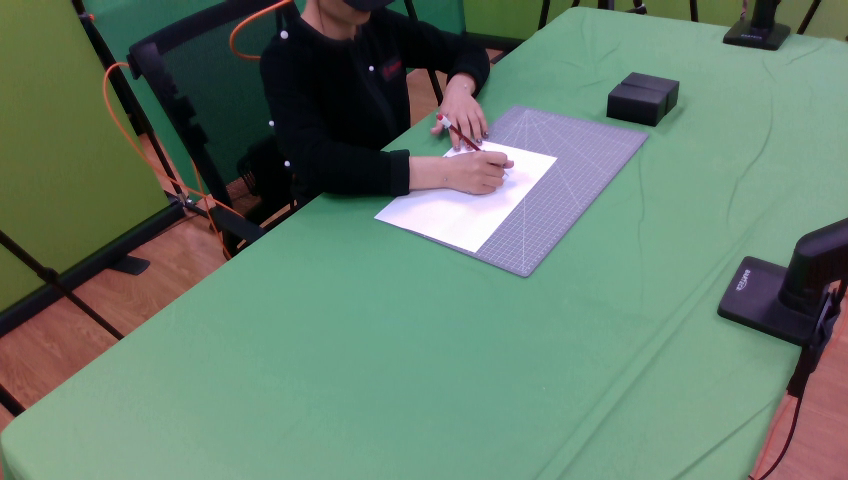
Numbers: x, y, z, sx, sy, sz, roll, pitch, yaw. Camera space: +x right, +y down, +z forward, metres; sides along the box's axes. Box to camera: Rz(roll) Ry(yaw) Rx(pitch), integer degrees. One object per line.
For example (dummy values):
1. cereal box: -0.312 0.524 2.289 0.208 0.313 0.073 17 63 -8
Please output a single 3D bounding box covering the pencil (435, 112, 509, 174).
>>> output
1. pencil: 0.087 -0.163 1.045 0.012 0.196 0.012 -29 45 33
